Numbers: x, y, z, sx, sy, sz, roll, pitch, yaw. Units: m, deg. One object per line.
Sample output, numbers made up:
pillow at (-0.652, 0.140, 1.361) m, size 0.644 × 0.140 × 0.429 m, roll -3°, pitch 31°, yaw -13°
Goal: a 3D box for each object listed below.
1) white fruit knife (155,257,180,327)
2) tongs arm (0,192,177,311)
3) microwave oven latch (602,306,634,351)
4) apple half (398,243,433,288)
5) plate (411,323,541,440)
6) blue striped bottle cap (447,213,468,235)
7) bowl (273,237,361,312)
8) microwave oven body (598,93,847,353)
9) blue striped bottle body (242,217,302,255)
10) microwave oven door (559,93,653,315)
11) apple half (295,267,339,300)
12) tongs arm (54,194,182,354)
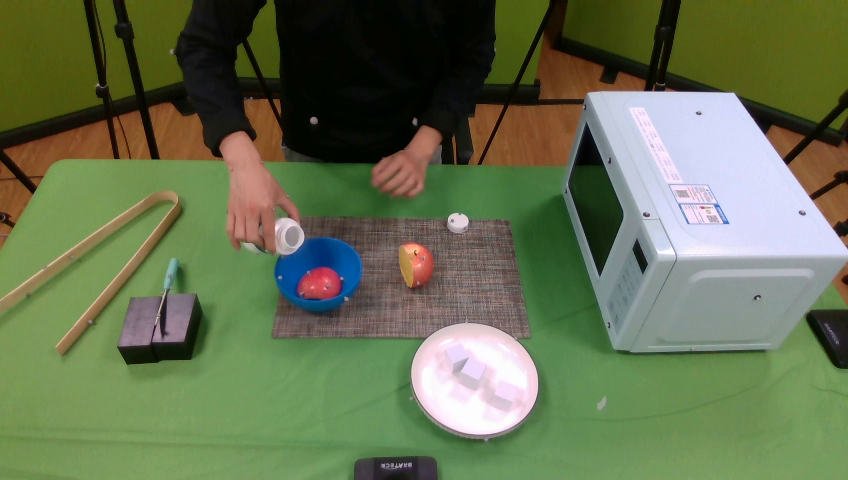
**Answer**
white fruit knife at (-0.440, 0.085, 1.037) m, size 0.016 × 0.027 × 0.206 m, roll 10°, pitch 26°, yaw -19°
tongs arm at (-0.618, 0.019, 1.124) m, size 0.050 × 0.026 × 0.384 m, roll 24°, pitch 47°, yaw 16°
microwave oven latch at (0.332, 0.153, 1.044) m, size 0.030 × 0.029 × 0.078 m, roll -1°, pitch 45°, yaw -4°
apple half at (-0.012, 0.046, 1.115) m, size 0.053 × 0.075 × 0.080 m, roll -11°, pitch 44°, yaw -19°
plate at (0.082, 0.228, 0.976) m, size 0.208 × 0.039 × 0.206 m, roll 2°, pitch 45°, yaw -2°
blue striped bottle cap at (0.069, -0.033, 1.239) m, size 0.044 × 0.021 × 0.044 m, roll 0°, pitch 47°, yaw 0°
bowl at (-0.185, 0.074, 1.069) m, size 0.151 × 0.077 × 0.150 m, roll 3°, pitch 46°, yaw -3°
microwave oven body at (0.475, -0.041, 1.109) m, size 0.326 × 0.261 × 0.438 m, roll -1°, pitch 45°, yaw -4°
blue striped bottle body at (-0.254, -0.007, 1.029) m, size 0.120 × 0.063 × 0.063 m, roll 3°, pitch 34°, yaw 47°
microwave oven door at (0.327, -0.074, 1.123) m, size 0.039 × 0.245 × 0.353 m, roll -1°, pitch 46°, yaw -5°
apple half at (-0.188, 0.071, 1.067) m, size 0.081 × 0.033 × 0.081 m, roll 3°, pitch 46°, yaw -3°
tongs arm at (-0.543, 0.048, 1.107) m, size 0.028 × 0.028 × 0.385 m, roll 11°, pitch 45°, yaw 10°
